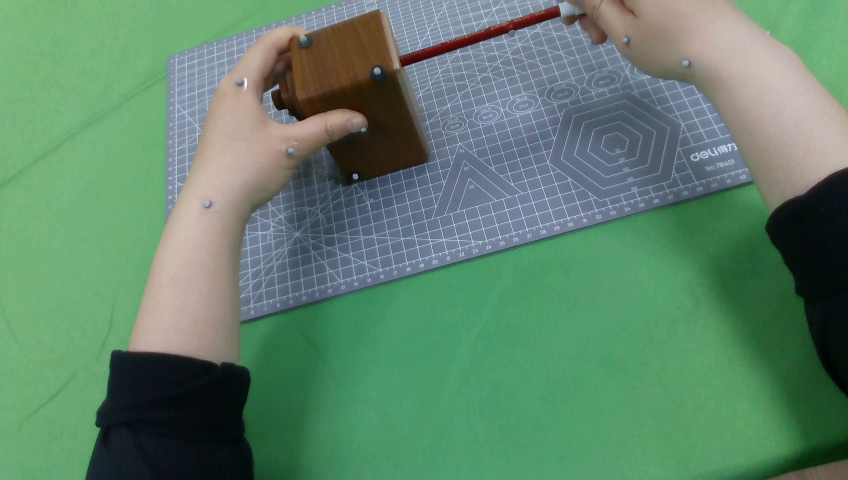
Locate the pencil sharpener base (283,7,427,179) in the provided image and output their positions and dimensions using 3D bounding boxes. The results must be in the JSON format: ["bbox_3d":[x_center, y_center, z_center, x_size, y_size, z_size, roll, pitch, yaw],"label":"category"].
[{"bbox_3d":[-0.048,-0.102,0.444,0.076,0.108,0.061,-17,62,5],"label":"pencil sharpener base"}]

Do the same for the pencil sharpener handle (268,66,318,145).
[{"bbox_3d":[-0.100,-0.093,0.438,0.030,0.068,0.035,-17,63,5],"label":"pencil sharpener handle"}]

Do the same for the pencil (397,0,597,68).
[{"bbox_3d":[0.024,-0.135,0.412,0.194,0.012,0.012,-18,61,5],"label":"pencil"}]
